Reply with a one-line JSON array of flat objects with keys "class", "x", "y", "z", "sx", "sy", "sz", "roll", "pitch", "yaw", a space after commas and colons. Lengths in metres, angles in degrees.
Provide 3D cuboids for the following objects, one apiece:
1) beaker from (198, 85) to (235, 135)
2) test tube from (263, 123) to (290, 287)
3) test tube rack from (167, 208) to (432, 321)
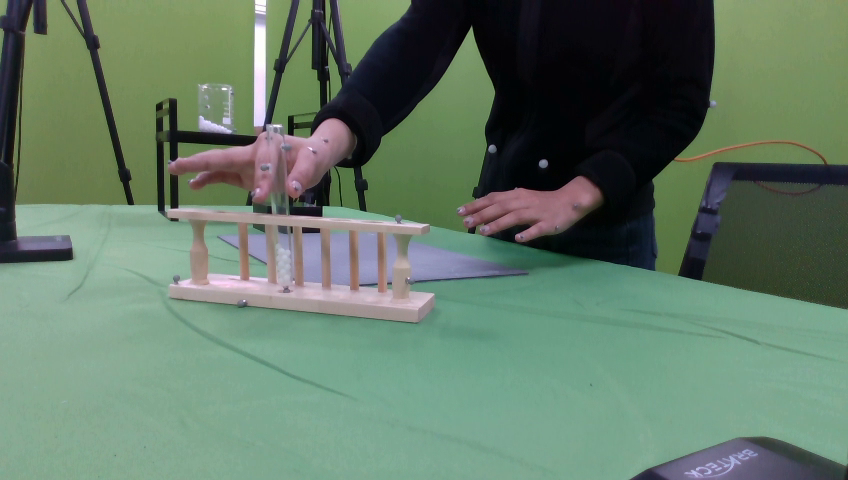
[{"class": "beaker", "x": -0.439, "y": -0.273, "z": 1.275, "sx": 0.074, "sy": 0.100, "sz": 0.084, "roll": 5, "pitch": 8, "yaw": 19}, {"class": "test tube", "x": -0.134, "y": -0.031, "z": 0.551, "sx": 0.017, "sy": 0.150, "sz": 0.017, "roll": -2, "pitch": 9, "yaw": 1}, {"class": "test tube rack", "x": -0.116, "y": 0.018, "z": 0.574, "sx": 0.242, "sy": 0.085, "sz": 0.067, "roll": 4, "pitch": 8, "yaw": 13}]
